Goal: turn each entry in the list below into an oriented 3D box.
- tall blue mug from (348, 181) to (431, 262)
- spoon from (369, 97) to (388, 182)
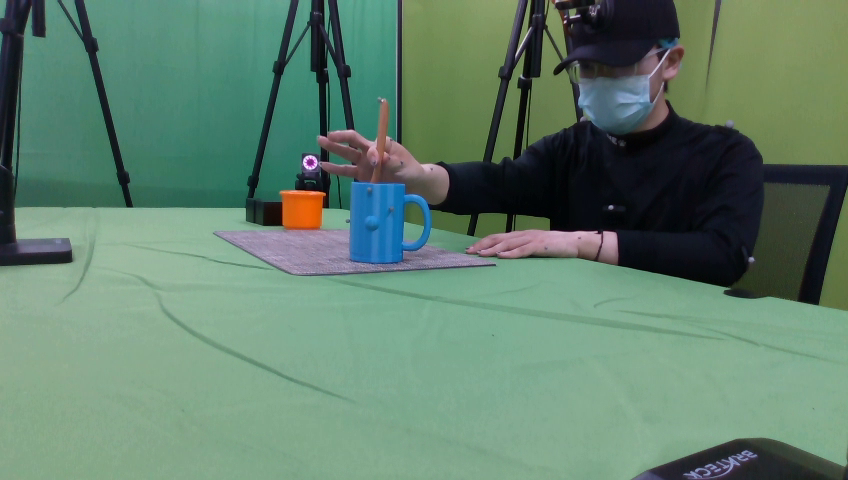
[{"bbox_3d":[-0.052,-0.028,0.849,0.108,0.108,0.077,-1,7,-22],"label":"tall blue mug"},{"bbox_3d":[-0.068,-0.103,0.847,0.042,0.193,0.021,8,4,-31],"label":"spoon"}]
